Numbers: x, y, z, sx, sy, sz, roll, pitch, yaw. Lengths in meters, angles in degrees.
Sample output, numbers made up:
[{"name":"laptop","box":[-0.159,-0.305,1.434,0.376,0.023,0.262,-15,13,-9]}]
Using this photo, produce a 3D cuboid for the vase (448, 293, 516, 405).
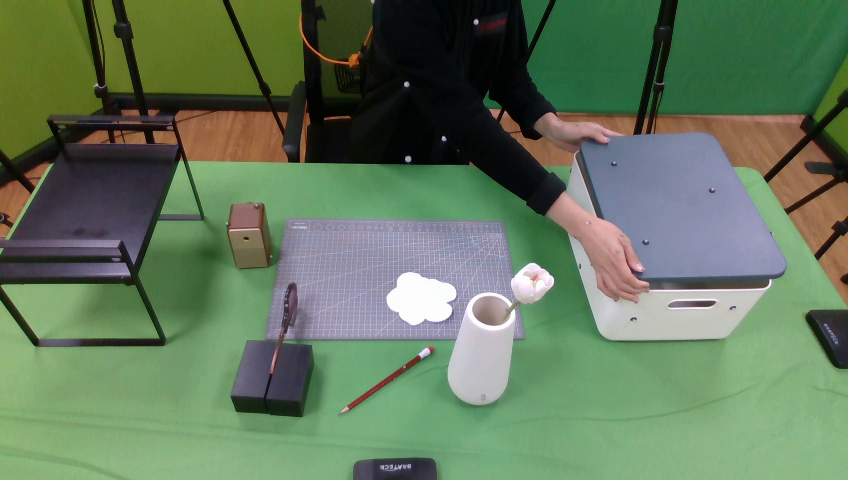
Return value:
[{"name":"vase","box":[0.091,0.169,0.921,0.098,0.201,0.097,3,47,-3]}]

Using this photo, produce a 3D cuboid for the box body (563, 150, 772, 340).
[{"name":"box body","box":[0.421,0.003,1.130,0.254,0.161,0.361,0,46,-5]}]

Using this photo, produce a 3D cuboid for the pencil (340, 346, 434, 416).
[{"name":"pencil","box":[-0.058,0.227,0.984,0.194,0.012,0.012,-32,56,-28]}]

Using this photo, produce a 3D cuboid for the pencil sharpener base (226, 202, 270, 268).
[{"name":"pencil sharpener base","box":[-0.323,-0.010,1.123,0.061,0.107,0.076,-3,46,-7]}]

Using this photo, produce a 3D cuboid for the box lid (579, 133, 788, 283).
[{"name":"box lid","box":[0.430,-0.069,1.051,0.263,0.015,0.369,-2,46,0]}]

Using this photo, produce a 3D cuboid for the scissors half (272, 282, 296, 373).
[{"name":"scissors half","box":[-0.229,0.139,0.986,0.013,0.040,0.174,4,51,-2]}]

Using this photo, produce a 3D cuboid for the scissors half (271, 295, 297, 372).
[{"name":"scissors half","box":[-0.230,0.154,1.000,0.013,0.040,0.174,0,34,2]}]

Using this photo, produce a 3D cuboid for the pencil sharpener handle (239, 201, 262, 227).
[{"name":"pencil sharpener handle","box":[-0.325,-0.056,1.149,0.036,0.068,0.030,-13,46,4]}]

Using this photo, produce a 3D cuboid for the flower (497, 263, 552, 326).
[{"name":"flower","box":[0.103,0.121,0.853,0.044,0.363,0.038,-1,64,-10]}]
